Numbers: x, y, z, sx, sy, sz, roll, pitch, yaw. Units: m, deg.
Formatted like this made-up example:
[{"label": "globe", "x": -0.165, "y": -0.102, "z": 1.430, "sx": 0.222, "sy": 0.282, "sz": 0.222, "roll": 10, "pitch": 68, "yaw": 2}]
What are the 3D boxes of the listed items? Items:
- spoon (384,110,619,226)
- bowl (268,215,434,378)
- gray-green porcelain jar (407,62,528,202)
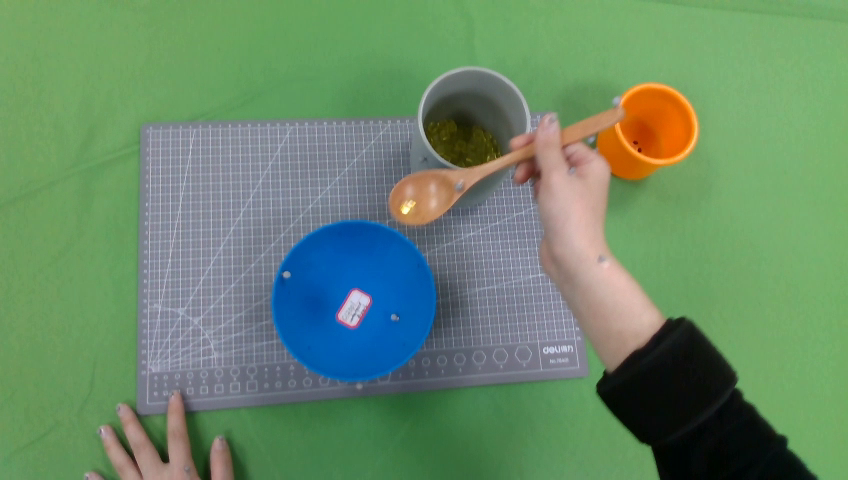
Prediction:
[{"label": "spoon", "x": 0.059, "y": -0.059, "z": 0.473, "sx": 0.193, "sy": 0.022, "sz": 0.041, "roll": -22, "pitch": 82, "yaw": 11}, {"label": "bowl", "x": -0.069, "y": 0.058, "z": 0.587, "sx": 0.151, "sy": 0.077, "sz": 0.150, "roll": 1, "pitch": 78, "yaw": -6}, {"label": "gray-green porcelain jar", "x": 0.037, "y": -0.100, "z": 0.607, "sx": 0.106, "sy": 0.127, "sz": 0.105, "roll": 1, "pitch": 78, "yaw": -6}]
